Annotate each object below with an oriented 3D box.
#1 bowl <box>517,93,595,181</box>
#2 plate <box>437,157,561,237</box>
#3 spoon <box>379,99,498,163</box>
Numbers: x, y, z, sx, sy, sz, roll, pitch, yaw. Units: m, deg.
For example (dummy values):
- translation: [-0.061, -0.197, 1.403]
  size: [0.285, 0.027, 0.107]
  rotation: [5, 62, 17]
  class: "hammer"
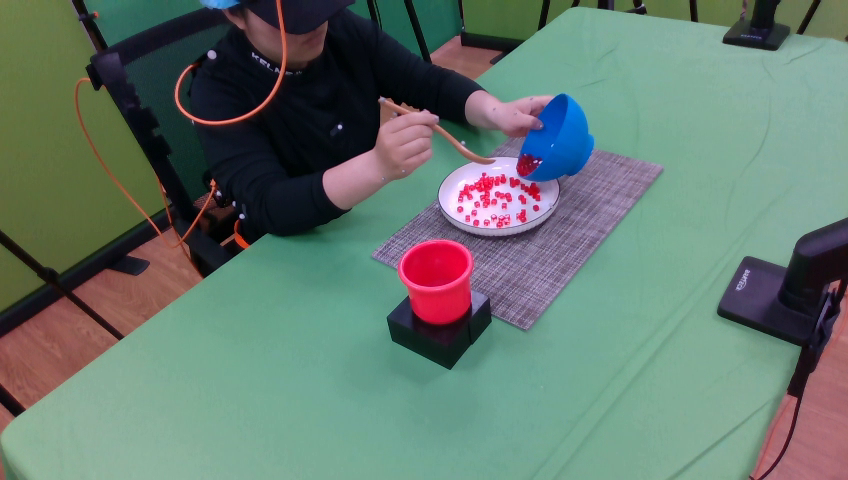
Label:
- translation: [0.224, -0.154, 0.986]
  size: [0.077, 0.151, 0.151]
  rotation: [24, 40, -12]
  class: "bowl"
- translation: [0.127, -0.069, 1.023]
  size: [0.207, 0.039, 0.206]
  rotation: [-5, 40, 5]
  class: "plate"
- translation: [0.022, -0.156, 0.870]
  size: [0.021, 0.195, 0.041]
  rotation: [-62, 16, -2]
  class: "spoon"
